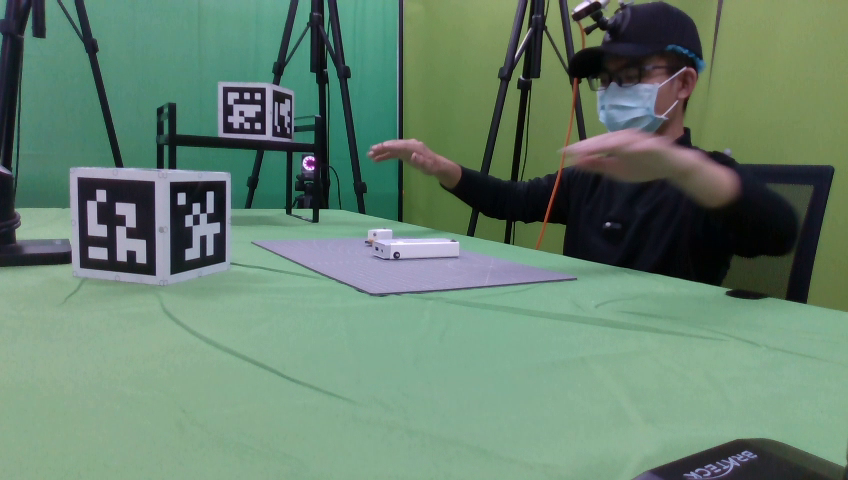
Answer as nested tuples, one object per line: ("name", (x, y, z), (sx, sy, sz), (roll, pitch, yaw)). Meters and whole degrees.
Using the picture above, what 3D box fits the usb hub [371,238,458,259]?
("usb hub", (-0.013, 0.012, 0.908), (0.126, 0.025, 0.049), (-2, 9, -29))

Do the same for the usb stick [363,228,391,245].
("usb stick", (-0.080, -0.005, 1.020), (0.021, 0.027, 0.059), (8, 12, 31))
